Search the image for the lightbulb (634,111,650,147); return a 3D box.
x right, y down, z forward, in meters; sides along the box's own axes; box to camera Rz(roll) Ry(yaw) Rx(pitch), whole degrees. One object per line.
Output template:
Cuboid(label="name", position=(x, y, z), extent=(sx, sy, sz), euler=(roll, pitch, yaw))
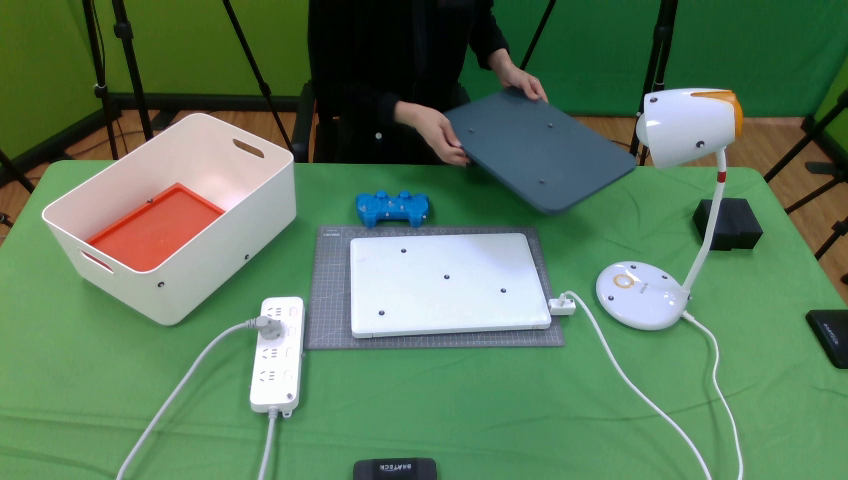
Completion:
Cuboid(label="lightbulb", position=(0.348, -0.163, 0.852), extent=(0.059, 0.060, 0.107), euler=(-36, 19, -32))

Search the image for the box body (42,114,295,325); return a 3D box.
Cuboid(label="box body", position=(-0.437, -0.046, 1.110), extent=(0.253, 0.161, 0.363), euler=(24, 49, 19))

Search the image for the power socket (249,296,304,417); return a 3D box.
Cuboid(label="power socket", position=(-0.239, 0.182, 0.996), extent=(0.072, 0.033, 0.225), euler=(-2, 47, -5))

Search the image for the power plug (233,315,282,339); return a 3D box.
Cuboid(label="power plug", position=(-0.271, 0.144, 0.999), extent=(0.072, 0.053, 0.035), euler=(6, 46, 3))

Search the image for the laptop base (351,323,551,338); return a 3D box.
Cuboid(label="laptop base", position=(0.040, 0.081, 1.125), extent=(0.355, 0.023, 0.234), euler=(-2, 43, -6))

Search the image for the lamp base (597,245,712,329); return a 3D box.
Cuboid(label="lamp base", position=(0.418, 0.051, 1.072), extent=(0.179, 0.181, 0.160), euler=(22, 49, 13))

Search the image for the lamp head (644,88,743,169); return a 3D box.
Cuboid(label="lamp head", position=(0.380, -0.161, 0.851), extent=(0.122, 0.113, 0.112), euler=(-4, 42, 25))

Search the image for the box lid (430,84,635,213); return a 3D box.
Cuboid(label="box lid", position=(0.216, -0.200, 1.240), extent=(0.263, 0.015, 0.369), euler=(-28, 53, -27))

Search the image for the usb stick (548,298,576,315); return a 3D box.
Cuboid(label="usb stick", position=(0.240, 0.120, 1.086), extent=(0.059, 0.027, 0.021), euler=(-2, 51, -2))

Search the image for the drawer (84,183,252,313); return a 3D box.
Cuboid(label="drawer", position=(-0.457, 0.008, 1.099), extent=(0.194, 0.073, 0.211), euler=(29, 49, 21))

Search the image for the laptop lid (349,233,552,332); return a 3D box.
Cuboid(label="laptop lid", position=(0.040, 0.071, 1.118), extent=(0.357, 0.013, 0.240), euler=(-1, 44, -5))

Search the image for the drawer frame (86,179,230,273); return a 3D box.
Cuboid(label="drawer frame", position=(-0.453, 0.010, 1.100), extent=(0.201, 0.083, 0.213), euler=(28, 55, 22))

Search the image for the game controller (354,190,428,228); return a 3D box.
Cuboid(label="game controller", position=(-0.066, -0.072, 1.244), extent=(0.155, 0.052, 0.096), euler=(0, 48, -4))
